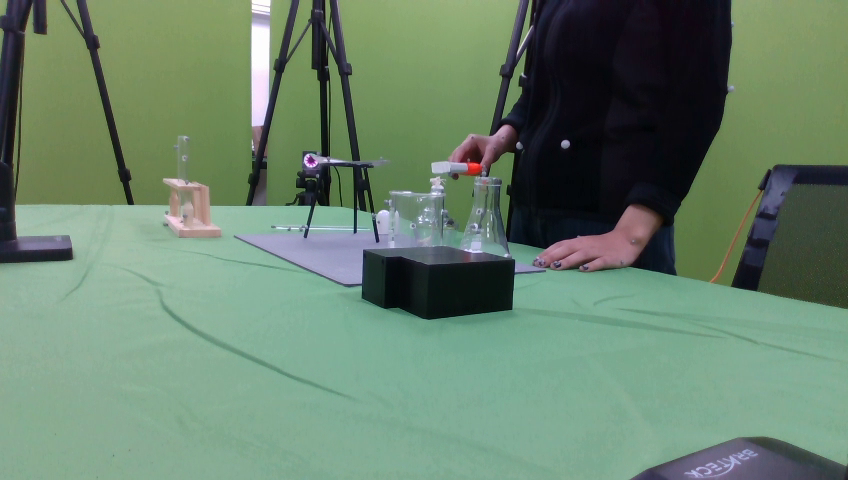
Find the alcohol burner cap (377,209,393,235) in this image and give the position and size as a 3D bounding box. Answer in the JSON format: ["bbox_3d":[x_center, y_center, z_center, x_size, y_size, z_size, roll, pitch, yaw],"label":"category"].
[{"bbox_3d":[-0.076,-0.035,1.145,0.034,0.048,0.034,2,7,0],"label":"alcohol burner cap"}]

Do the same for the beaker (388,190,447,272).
[{"bbox_3d":[-0.010,-0.013,0.771,0.074,0.100,0.084,3,7,4],"label":"beaker"}]

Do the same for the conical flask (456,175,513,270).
[{"bbox_3d":[0.083,-0.025,0.801,0.075,0.122,0.075,2,7,0],"label":"conical flask"}]

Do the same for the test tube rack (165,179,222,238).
[{"bbox_3d":[-0.423,-0.062,1.098,0.067,0.085,0.241,-2,9,-28],"label":"test tube rack"}]

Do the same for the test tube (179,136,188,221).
[{"bbox_3d":[-0.425,-0.108,1.070,0.017,0.150,0.017,4,9,0],"label":"test tube"}]

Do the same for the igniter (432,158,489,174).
[{"bbox_3d":[0.071,-0.134,1.099,0.057,0.025,0.277,-3,5,19],"label":"igniter"}]

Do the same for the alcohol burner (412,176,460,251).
[{"bbox_3d":[0.020,-0.043,0.958,0.078,0.119,0.078,4,9,0],"label":"alcohol burner"}]

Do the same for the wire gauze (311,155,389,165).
[{"bbox_3d":[-0.128,-0.137,1.042,0.122,0.011,0.124,1,8,-18],"label":"wire gauze"}]

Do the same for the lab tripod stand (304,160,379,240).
[{"bbox_3d":[-0.131,-0.071,1.046,0.148,0.131,0.148,4,7,0],"label":"lab tripod stand"}]

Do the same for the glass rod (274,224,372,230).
[{"bbox_3d":[-0.193,-0.024,1.176,0.201,0.008,0.008,1,6,-31],"label":"glass rod"}]
